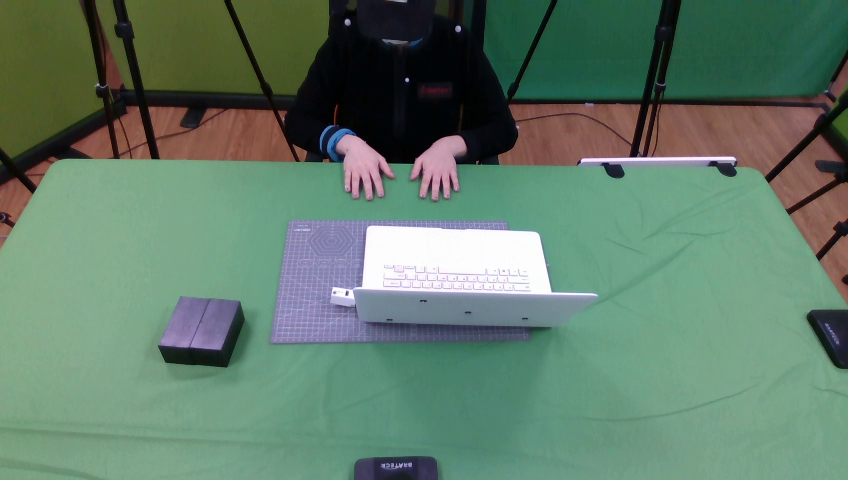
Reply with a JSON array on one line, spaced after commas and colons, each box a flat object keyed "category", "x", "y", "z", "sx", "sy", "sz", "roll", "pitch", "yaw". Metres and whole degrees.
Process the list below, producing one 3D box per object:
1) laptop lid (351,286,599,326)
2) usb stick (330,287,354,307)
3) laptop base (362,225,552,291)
[{"category": "laptop lid", "x": 0.068, "y": 0.109, "z": 0.952, "sx": 0.357, "sy": 0.242, "sz": 0.013, "roll": 2, "pitch": 71, "yaw": -4}, {"category": "usb stick", "x": -0.135, "y": 0.101, "z": 1.068, "sx": 0.059, "sy": 0.027, "sz": 0.021, "roll": 13, "pitch": 43, "yaw": -9}, {"category": "laptop base", "x": 0.061, "y": 0.063, "z": 1.145, "sx": 0.354, "sy": 0.023, "sz": 0.234, "roll": 2, "pitch": 43, "yaw": -3}]
